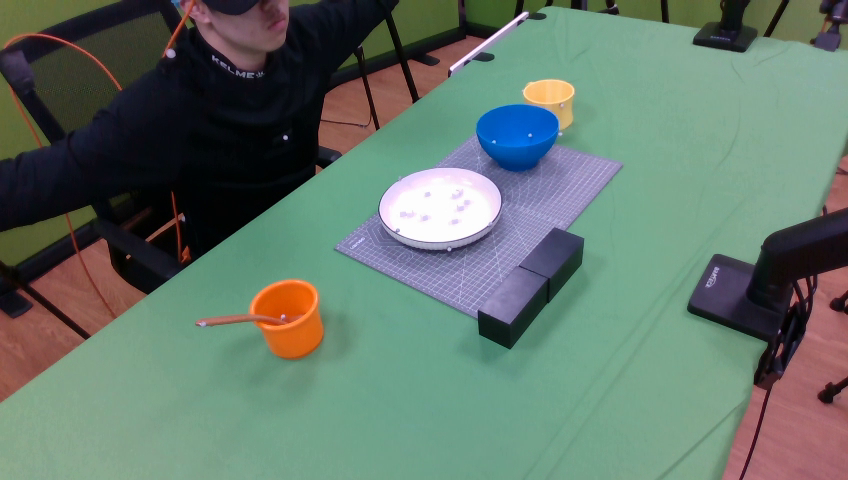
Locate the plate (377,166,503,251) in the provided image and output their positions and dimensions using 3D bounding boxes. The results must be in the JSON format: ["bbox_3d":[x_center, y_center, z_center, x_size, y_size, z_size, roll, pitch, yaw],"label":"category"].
[{"bbox_3d":[0.027,-0.050,1.007,0.209,0.038,0.208,-4,41,4],"label":"plate"}]

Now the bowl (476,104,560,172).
[{"bbox_3d":[0.171,-0.178,1.105,0.151,0.077,0.150,-4,40,4],"label":"bowl"}]

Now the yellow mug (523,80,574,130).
[{"bbox_3d":[0.242,-0.278,1.224,0.100,0.064,0.129,-24,42,-18],"label":"yellow mug"}]

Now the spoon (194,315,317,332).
[{"bbox_3d":[-0.212,0.105,0.780,0.041,0.195,0.021,19,91,34],"label":"spoon"}]
